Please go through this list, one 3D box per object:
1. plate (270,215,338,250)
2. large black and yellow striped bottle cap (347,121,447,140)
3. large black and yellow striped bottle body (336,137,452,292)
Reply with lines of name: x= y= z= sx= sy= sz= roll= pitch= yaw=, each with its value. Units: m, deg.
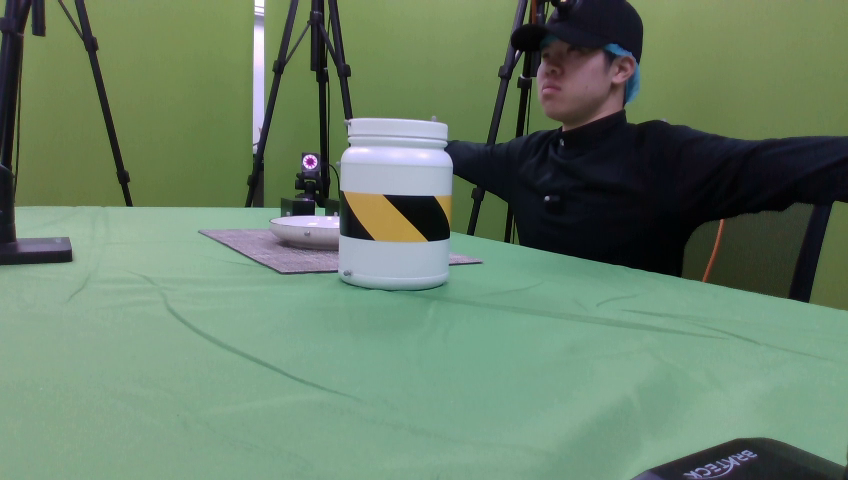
plate: x=-0.145 y=-0.013 z=0.992 sx=0.208 sy=0.039 sz=0.207 roll=2 pitch=7 yaw=0
large black and yellow striped bottle cap: x=-0.031 y=-0.124 z=0.691 sx=0.115 sy=0.019 sz=0.115 roll=1 pitch=7 yaw=0
large black and yellow striped bottle body: x=-0.034 y=-0.041 z=0.703 sx=0.131 sy=0.184 sz=0.130 roll=3 pitch=7 yaw=0
